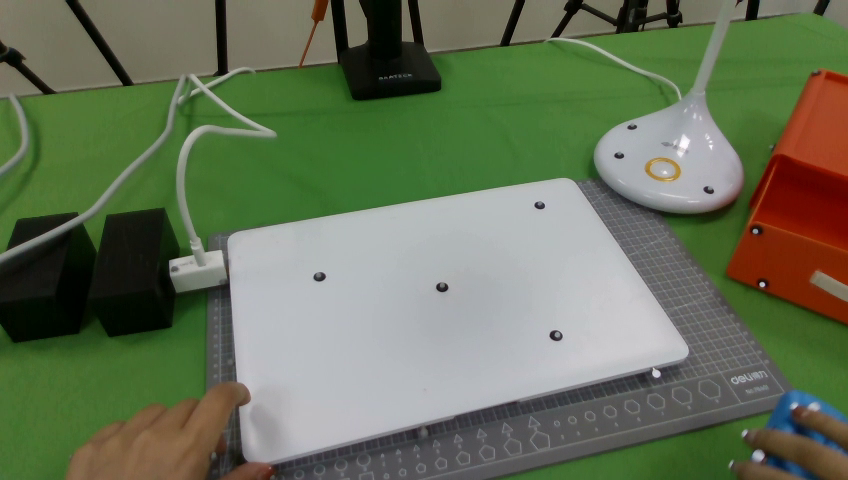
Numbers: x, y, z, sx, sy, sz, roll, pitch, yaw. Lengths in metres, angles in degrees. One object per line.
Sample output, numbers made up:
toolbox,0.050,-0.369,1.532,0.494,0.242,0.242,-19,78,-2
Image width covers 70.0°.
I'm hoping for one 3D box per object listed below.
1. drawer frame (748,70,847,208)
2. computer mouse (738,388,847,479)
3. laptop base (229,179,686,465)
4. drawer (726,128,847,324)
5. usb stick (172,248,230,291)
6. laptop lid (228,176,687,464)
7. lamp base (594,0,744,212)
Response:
drawer frame,0.477,-0.078,0.634,0.200,0.083,0.213,25,48,23
computer mouse,0.240,0.152,0.382,0.062,0.041,0.117,37,68,11
laptop base,0.016,0.050,0.534,0.355,0.023,0.233,-10,49,-12
drawer,0.416,-0.012,0.569,0.193,0.074,0.211,25,48,23
usb stick,-0.189,0.025,0.534,0.059,0.027,0.021,-10,45,-17
laptop lid,0.017,0.043,0.524,0.357,0.013,0.239,-9,48,-11
lamp base,0.277,-0.149,0.630,0.160,0.182,0.178,18,43,17
